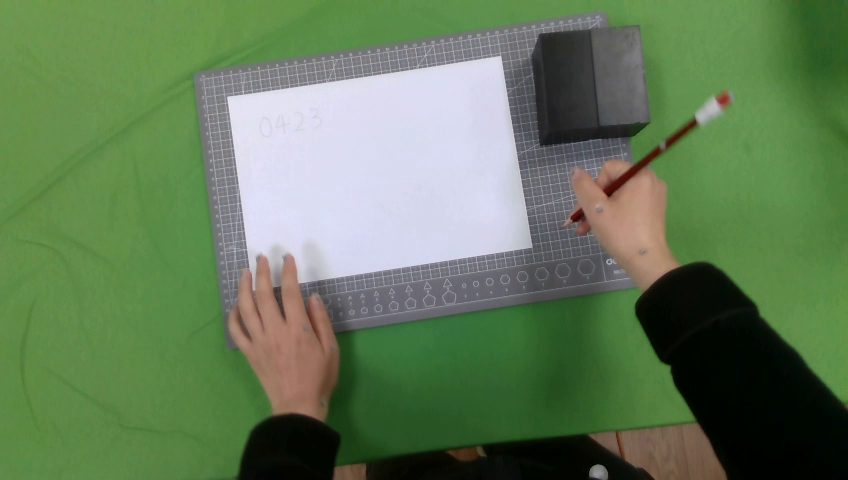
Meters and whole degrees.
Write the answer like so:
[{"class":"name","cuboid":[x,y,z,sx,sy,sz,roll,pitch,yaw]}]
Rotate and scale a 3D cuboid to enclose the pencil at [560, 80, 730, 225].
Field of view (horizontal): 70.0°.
[{"class":"pencil","cuboid":[0.181,-0.067,0.525,0.012,0.194,0.012,20,48,-23]}]
